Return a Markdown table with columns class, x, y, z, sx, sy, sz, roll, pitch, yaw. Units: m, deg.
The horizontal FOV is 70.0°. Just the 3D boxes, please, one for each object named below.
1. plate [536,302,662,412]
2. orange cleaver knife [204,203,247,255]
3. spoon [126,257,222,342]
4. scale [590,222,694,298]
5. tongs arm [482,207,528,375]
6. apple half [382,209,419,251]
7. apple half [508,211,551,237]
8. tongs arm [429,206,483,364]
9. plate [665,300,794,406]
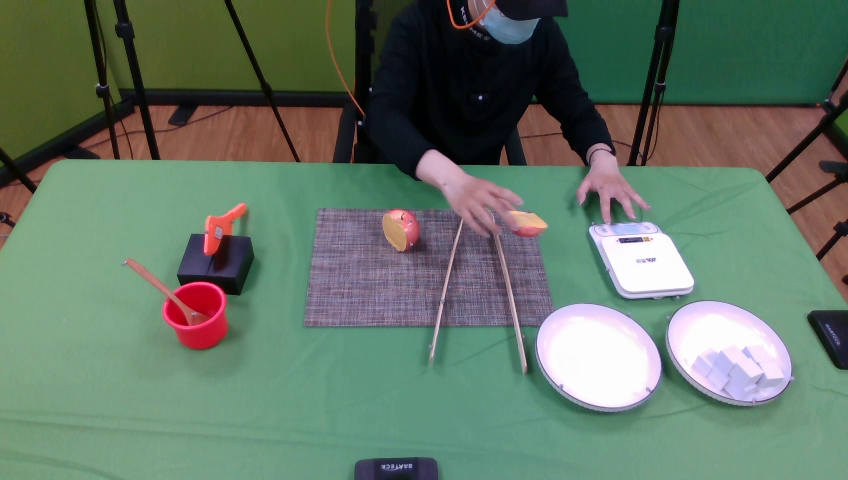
| class | x | y | z | sx | sy | sz | roll | pitch | yaw |
| --- | --- | --- | --- | --- | --- | --- | --- | --- | --- |
| plate | 0.288 | 0.197 | 1.016 | 0.209 | 0.038 | 0.208 | 2 | 46 | -2 |
| orange cleaver knife | -0.374 | -0.024 | 1.146 | 0.012 | 0.077 | 0.211 | 4 | 14 | 1 |
| spoon | -0.408 | 0.096 | 0.990 | 0.194 | 0.021 | 0.041 | 50 | 53 | -18 |
| scale | 0.424 | 0.031 | 1.189 | 0.149 | 0.032 | 0.199 | -3 | 46 | -7 |
| tongs arm | 0.149 | 0.078 | 1.124 | 0.028 | 0.028 | 0.385 | -4 | 46 | -2 |
| apple half | -0.039 | -0.022 | 1.175 | 0.053 | 0.075 | 0.080 | -27 | 50 | -31 |
| apple half | 0.185 | -0.025 | 1.091 | 0.081 | 0.033 | 0.081 | 9 | 22 | -3 |
| tongs arm | 0.065 | 0.069 | 1.124 | 0.051 | 0.026 | 0.382 | 8 | 45 | 5 |
| plate | 0.513 | 0.194 | 1.034 | 0.208 | 0.039 | 0.206 | 2 | 46 | -2 |
